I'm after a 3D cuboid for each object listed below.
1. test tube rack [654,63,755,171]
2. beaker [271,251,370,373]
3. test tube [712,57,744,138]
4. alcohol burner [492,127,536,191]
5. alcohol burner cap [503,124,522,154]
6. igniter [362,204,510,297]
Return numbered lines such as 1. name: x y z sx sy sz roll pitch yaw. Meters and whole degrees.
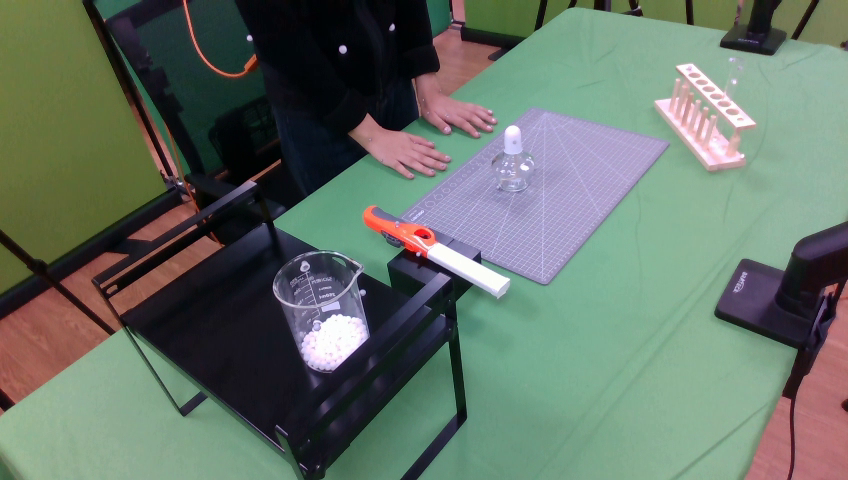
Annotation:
1. test tube rack: 0.510 -0.233 1.120 0.067 0.085 0.241 -8 41 -1
2. beaker: -0.090 0.069 0.571 0.084 0.101 0.073 -19 42 -13
3. test tube: 0.530 -0.246 1.056 0.017 0.151 0.017 -1 39 1
4. alcohol burner: 0.155 -0.146 1.046 0.078 0.119 0.077 -4 43 4
5. alcohol burner cap: 0.150 -0.173 1.022 0.034 0.048 0.033 -4 36 3
6. igniter: 0.006 0.009 0.887 0.274 0.025 0.057 29 50 32
